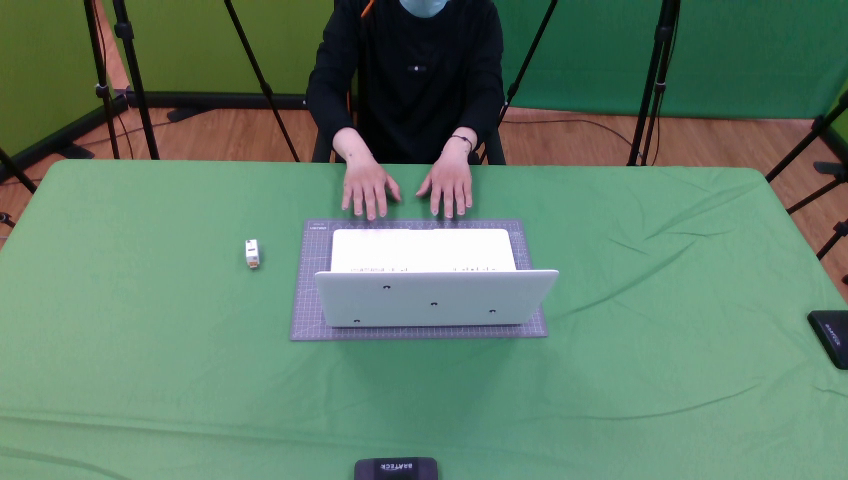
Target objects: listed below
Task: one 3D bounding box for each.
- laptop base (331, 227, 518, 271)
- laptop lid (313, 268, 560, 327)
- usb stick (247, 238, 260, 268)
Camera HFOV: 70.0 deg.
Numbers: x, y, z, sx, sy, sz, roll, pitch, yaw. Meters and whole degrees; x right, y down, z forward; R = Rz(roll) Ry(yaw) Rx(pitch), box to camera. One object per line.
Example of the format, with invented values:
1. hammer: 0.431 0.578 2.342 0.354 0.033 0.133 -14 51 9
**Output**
1. laptop base: 0.003 0.062 1.135 0.355 0.023 0.234 -1 43 -4
2. laptop lid: 0.015 0.095 0.949 0.357 0.242 0.013 0 64 -5
3. usb stick: -0.322 0.026 1.144 0.021 0.027 0.059 -7 50 -12
